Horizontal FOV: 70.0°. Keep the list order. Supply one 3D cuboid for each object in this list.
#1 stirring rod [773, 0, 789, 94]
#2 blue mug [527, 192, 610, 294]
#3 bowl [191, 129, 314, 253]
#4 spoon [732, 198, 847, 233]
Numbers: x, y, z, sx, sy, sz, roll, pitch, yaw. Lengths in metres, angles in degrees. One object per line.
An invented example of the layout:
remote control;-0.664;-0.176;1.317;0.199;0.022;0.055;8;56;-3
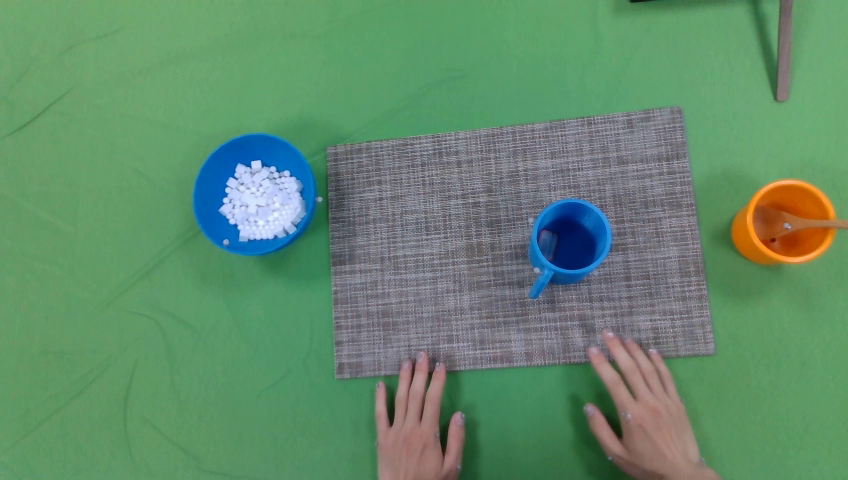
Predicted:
stirring rod;0.423;-0.263;0.716;0.014;0.006;0.176;-4;100;4
blue mug;0.151;0.012;0.685;0.082;0.106;0.116;33;87;11
bowl;-0.201;-0.053;0.757;0.151;0.077;0.151;-1;82;7
spoon;0.425;-0.024;0.638;0.022;0.192;0.041;22;81;-34
